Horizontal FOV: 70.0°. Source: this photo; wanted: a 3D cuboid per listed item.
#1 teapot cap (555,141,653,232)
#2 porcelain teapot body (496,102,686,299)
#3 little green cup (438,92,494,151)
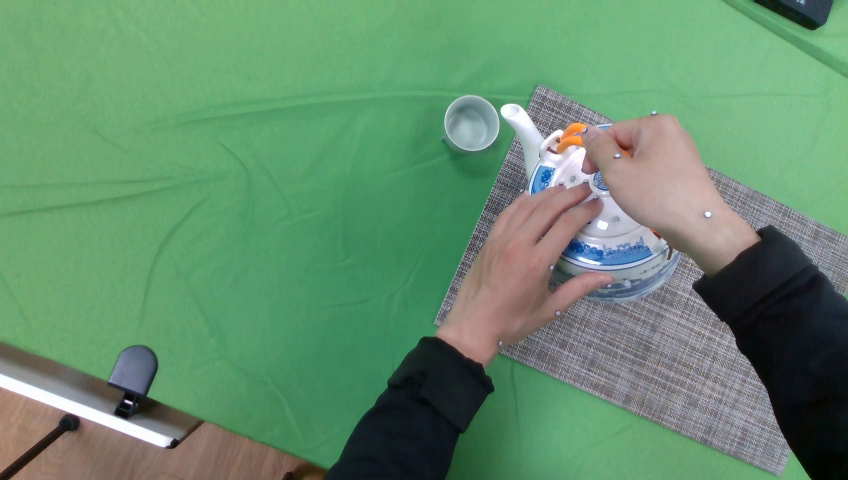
[{"bbox_3d":[0.157,-0.049,0.530,0.085,0.044,0.084,-5,70,15],"label":"teapot cap"},{"bbox_3d":[0.147,-0.053,0.579,0.145,0.227,0.203,-47,65,-1],"label":"porcelain teapot body"},{"bbox_3d":[0.044,-0.128,0.669,0.062,0.038,0.061,1,85,-8],"label":"little green cup"}]
